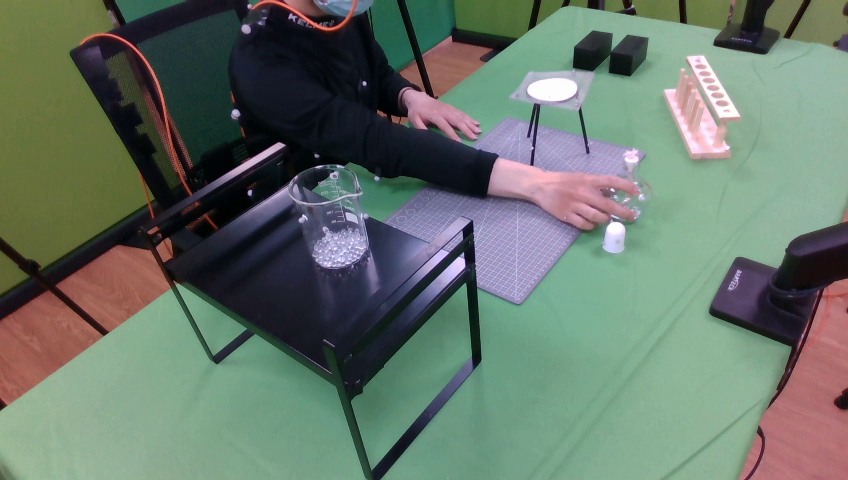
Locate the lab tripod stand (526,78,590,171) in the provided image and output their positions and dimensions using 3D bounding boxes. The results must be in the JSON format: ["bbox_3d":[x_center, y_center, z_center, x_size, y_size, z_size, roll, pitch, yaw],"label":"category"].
[{"bbox_3d":[0.228,-0.215,1.097,0.148,0.132,0.147,-6,40,5],"label":"lab tripod stand"}]

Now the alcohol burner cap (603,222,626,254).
[{"bbox_3d":[0.292,-0.006,0.921,0.034,0.048,0.033,-5,40,4],"label":"alcohol burner cap"}]

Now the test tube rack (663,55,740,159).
[{"bbox_3d":[0.518,-0.256,1.144,0.066,0.085,0.241,-1,41,8],"label":"test tube rack"}]

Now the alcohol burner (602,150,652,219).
[{"bbox_3d":[0.323,-0.092,0.956,0.078,0.119,0.077,-3,40,3],"label":"alcohol burner"}]

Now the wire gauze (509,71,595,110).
[{"bbox_3d":[0.224,-0.266,1.054,0.124,0.011,0.121,12,44,23],"label":"wire gauze"}]

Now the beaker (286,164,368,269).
[{"bbox_3d":[-0.101,-0.024,0.676,0.083,0.101,0.074,8,43,17],"label":"beaker"}]
